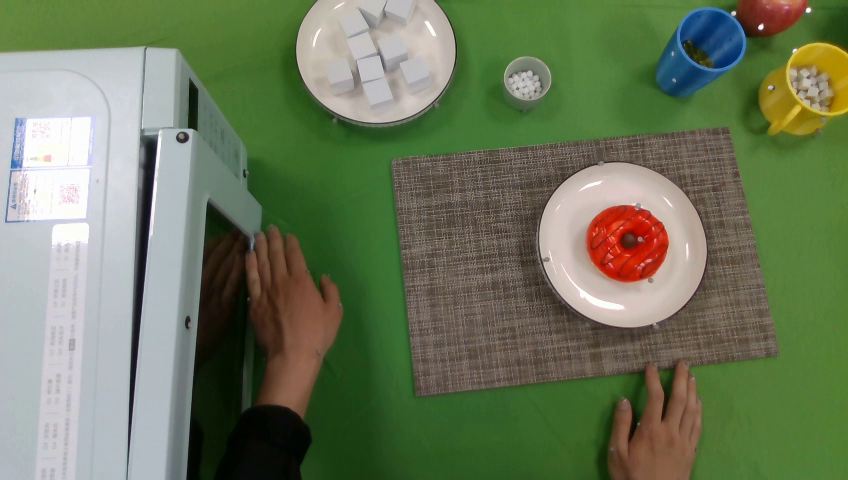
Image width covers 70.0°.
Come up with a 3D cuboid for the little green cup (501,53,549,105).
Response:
[{"bbox_3d":[0.129,-0.208,0.792,0.061,0.039,0.061,0,78,-1],"label":"little green cup"}]

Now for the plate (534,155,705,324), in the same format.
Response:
[{"bbox_3d":[0.237,0.000,0.748,0.209,0.038,0.208,0,78,-2],"label":"plate"}]

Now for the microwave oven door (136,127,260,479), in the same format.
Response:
[{"bbox_3d":[-0.212,0.100,0.594,0.039,0.244,0.354,0,78,-1],"label":"microwave oven door"}]

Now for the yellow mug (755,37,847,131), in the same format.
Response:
[{"bbox_3d":[0.487,-0.191,0.786,0.099,0.064,0.130,42,81,6],"label":"yellow mug"}]

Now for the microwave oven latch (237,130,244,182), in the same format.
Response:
[{"bbox_3d":[-0.235,-0.092,0.736,0.030,0.029,0.079,-1,79,-2],"label":"microwave oven latch"}]

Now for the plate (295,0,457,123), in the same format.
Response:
[{"bbox_3d":[-0.062,-0.247,0.793,0.208,0.039,0.206,0,78,-2],"label":"plate"}]

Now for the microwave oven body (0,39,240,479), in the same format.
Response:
[{"bbox_3d":[-0.370,0.068,0.600,0.326,0.261,0.439,-3,79,-3],"label":"microwave oven body"}]

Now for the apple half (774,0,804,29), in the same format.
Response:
[{"bbox_3d":[0.483,-0.321,0.807,0.033,0.081,0.081,0,78,1],"label":"apple half"}]

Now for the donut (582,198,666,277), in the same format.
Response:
[{"bbox_3d":[0.242,-0.003,0.737,0.099,0.048,0.098,0,79,0],"label":"donut"}]

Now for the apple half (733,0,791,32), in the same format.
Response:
[{"bbox_3d":[0.443,-0.320,0.807,0.053,0.075,0.080,-1,81,2],"label":"apple half"}]

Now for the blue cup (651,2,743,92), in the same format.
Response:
[{"bbox_3d":[0.338,-0.236,0.772,0.093,0.100,0.092,0,80,-2],"label":"blue cup"}]
